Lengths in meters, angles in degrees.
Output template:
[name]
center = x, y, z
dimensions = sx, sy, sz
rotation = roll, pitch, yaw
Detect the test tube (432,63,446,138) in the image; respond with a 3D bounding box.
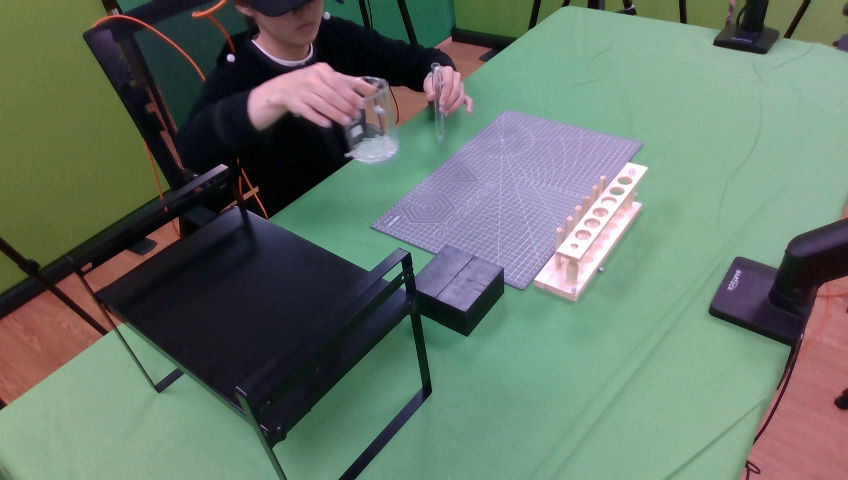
[test tube]
center = 0.028, -0.245, 1.078
dimensions = 0.017, 0.151, 0.017
rotation = -3, 45, 3

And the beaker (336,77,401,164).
[beaker]
center = -0.072, -0.164, 0.836
dimensions = 0.073, 0.101, 0.084
rotation = 15, 44, 29

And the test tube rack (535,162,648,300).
[test tube rack]
center = 0.257, -0.024, 0.916
dimensions = 0.066, 0.085, 0.243
rotation = 22, 49, 30
